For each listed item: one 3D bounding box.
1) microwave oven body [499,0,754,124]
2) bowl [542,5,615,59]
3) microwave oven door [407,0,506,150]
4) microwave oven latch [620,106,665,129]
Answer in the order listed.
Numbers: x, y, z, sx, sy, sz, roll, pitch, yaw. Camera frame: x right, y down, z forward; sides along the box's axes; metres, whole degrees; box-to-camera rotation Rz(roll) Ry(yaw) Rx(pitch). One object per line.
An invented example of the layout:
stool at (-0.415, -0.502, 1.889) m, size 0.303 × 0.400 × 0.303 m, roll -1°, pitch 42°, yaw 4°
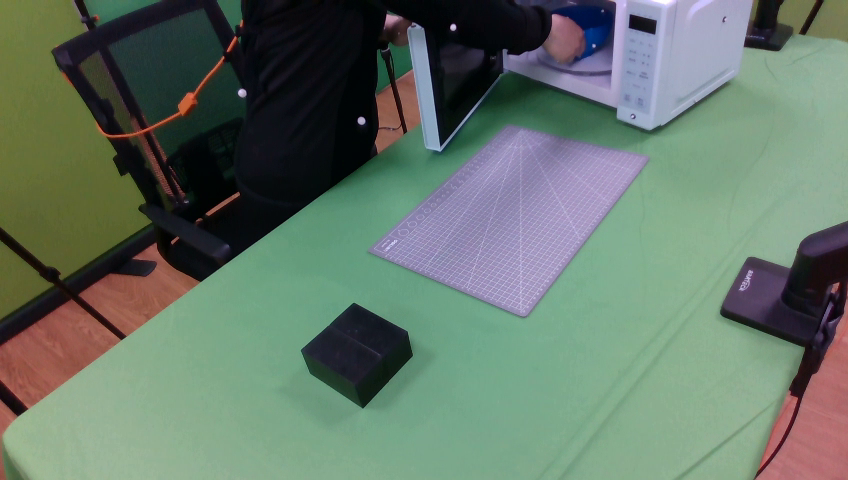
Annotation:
microwave oven body at (0.402, -0.458, 1.259) m, size 0.327 × 0.261 × 0.437 m, roll -33°, pitch 45°, yaw -24°
bowl at (0.328, -0.440, 1.299) m, size 0.151 × 0.077 × 0.150 m, roll -3°, pitch 39°, yaw 3°
microwave oven door at (0.079, -0.378, 1.220) m, size 0.039 × 0.245 × 0.356 m, roll 13°, pitch 45°, yaw 25°
microwave oven latch at (0.413, -0.237, 1.146) m, size 0.030 × 0.029 × 0.078 m, roll -32°, pitch 44°, yaw -23°
